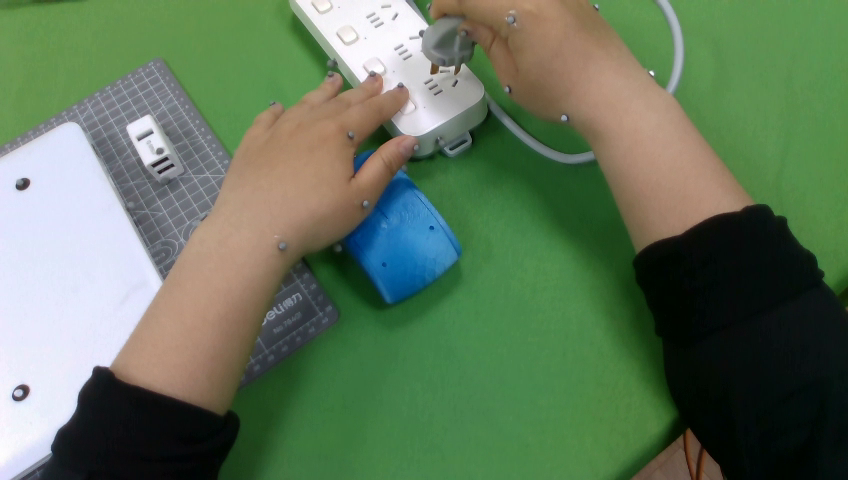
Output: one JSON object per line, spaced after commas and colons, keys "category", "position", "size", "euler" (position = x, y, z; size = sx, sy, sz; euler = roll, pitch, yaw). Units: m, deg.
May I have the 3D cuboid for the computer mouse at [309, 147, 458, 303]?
{"category": "computer mouse", "position": [-0.030, -0.016, 0.400], "size": [0.063, 0.041, 0.116], "euler": [-33, 59, -6]}

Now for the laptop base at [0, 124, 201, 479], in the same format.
{"category": "laptop base", "position": [-0.344, 0.087, 0.399], "size": [0.354, 0.023, 0.233], "euler": [-34, 67, -10]}

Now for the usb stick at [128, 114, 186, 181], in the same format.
{"category": "usb stick", "position": [-0.203, -0.074, 0.455], "size": [0.021, 0.027, 0.058], "euler": [-33, 61, -7]}

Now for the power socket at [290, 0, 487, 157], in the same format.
{"category": "power socket", "position": [-0.035, -0.154, 0.474], "size": [0.072, 0.033, 0.224], "euler": [-31, 64, -10]}

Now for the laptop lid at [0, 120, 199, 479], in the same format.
{"category": "laptop lid", "position": [-0.344, 0.083, 0.387], "size": [0.357, 0.013, 0.239], "euler": [-33, 66, -9]}

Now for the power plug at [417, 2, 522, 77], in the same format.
{"category": "power plug", "position": [0.031, -0.134, 0.415], "size": [0.073, 0.053, 0.035], "euler": [-3, 60, -19]}
